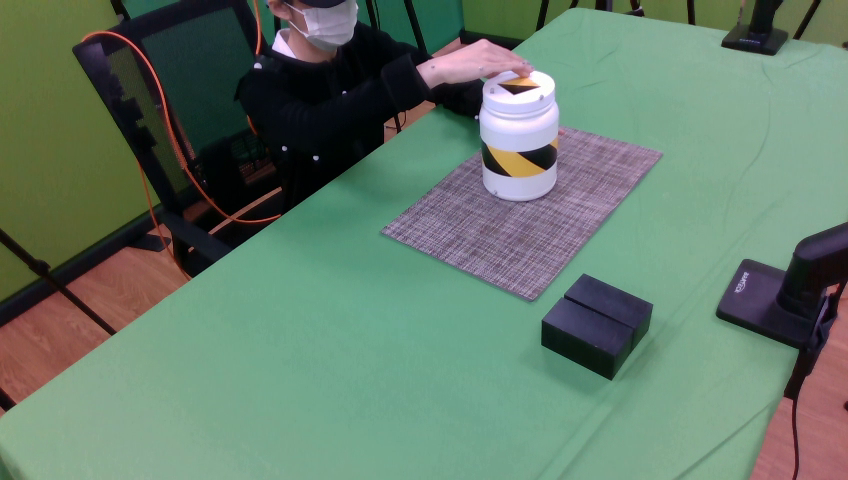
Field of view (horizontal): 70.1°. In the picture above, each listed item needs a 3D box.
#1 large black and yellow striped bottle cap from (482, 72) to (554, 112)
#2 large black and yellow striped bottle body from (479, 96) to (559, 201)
[{"bbox_3d":[0.150,-0.238,0.966,0.115,0.019,0.114,-3,39,3],"label":"large black and yellow striped bottle cap"},{"bbox_3d":[0.161,-0.173,1.022,0.131,0.185,0.130,-5,40,4],"label":"large black and yellow striped bottle body"}]
